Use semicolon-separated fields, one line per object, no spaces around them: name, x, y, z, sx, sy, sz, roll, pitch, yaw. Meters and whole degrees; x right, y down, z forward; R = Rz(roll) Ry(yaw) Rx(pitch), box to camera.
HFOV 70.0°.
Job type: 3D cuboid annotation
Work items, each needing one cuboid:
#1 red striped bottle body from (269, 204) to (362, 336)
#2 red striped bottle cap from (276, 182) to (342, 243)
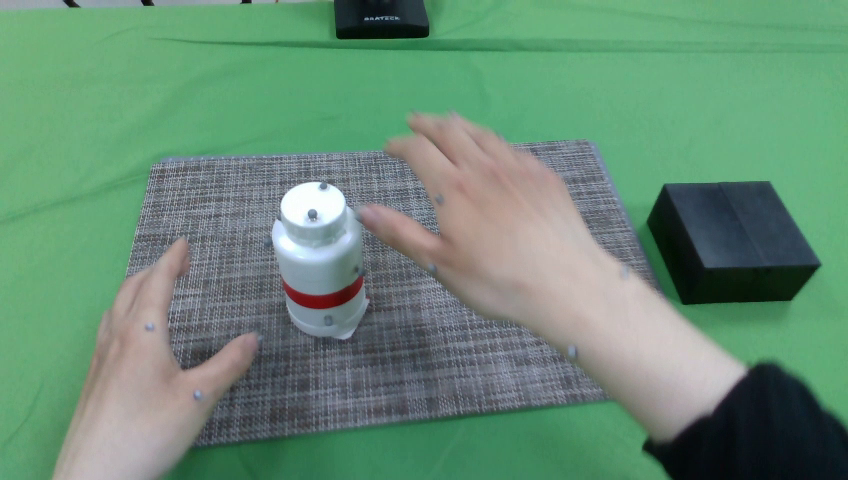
red striped bottle body;-0.080;0.015;0.453;0.063;0.121;0.062;2;49;-2
red striped bottle cap;-0.078;-0.020;0.413;0.044;0.018;0.044;4;48;-4
